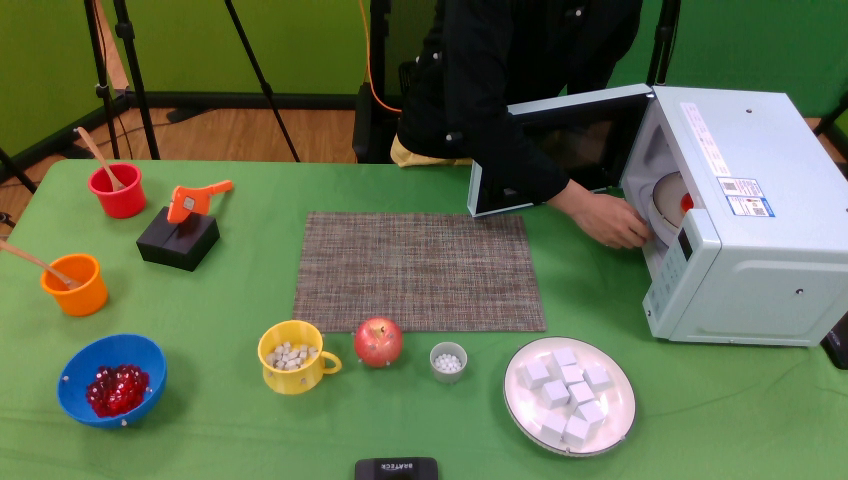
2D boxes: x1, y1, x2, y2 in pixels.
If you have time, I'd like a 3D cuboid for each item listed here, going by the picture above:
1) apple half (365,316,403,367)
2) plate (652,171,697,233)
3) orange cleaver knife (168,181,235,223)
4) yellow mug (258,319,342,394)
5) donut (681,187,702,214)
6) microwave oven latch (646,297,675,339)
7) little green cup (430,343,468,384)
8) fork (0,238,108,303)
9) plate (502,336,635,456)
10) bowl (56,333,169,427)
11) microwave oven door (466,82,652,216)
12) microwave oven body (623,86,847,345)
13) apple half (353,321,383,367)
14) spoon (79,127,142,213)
[{"bbox_3d":[-0.063,0.165,1.000,0.053,0.075,0.080,-16,45,-24],"label":"apple half"},{"bbox_3d":[0.554,-0.058,1.196,0.209,0.038,0.208,2,46,-2],"label":"plate"},{"bbox_3d":[-0.436,-0.078,1.196,0.012,0.077,0.211,16,15,10],"label":"orange cleaver knife"},{"bbox_3d":[-0.195,0.188,0.972,0.131,0.064,0.099,9,47,4],"label":"yellow mug"},{"bbox_3d":[0.552,-0.066,1.183,0.099,0.048,0.098,3,47,-3],"label":"donut"},{"bbox_3d":[0.412,0.134,1.061,0.030,0.029,0.078,4,45,1],"label":"microwave oven latch"},{"bbox_3d":[0.039,0.204,0.993,0.061,0.039,0.061,2,46,-2],"label":"little green cup"},{"bbox_3d":[-0.633,0.048,1.017,0.208,0.018,0.028,40,43,-27],"label":"fork"},{"bbox_3d":[0.225,0.248,0.963,0.208,0.039,0.206,2,46,-2],"label":"plate"},{"bbox_3d":[-0.456,0.223,0.912,0.151,0.077,0.150,3,46,-2],"label":"bowl"},{"bbox_3d":[0.266,-0.181,1.214,0.356,0.245,0.039,-12,49,-15],"label":"microwave oven door"},{"bbox_3d":[0.567,-0.053,1.118,0.326,0.261,0.439,2,45,-1],"label":"microwave oven body"},{"bbox_3d":[-0.097,0.177,0.984,0.033,0.081,0.081,-17,49,-24],"label":"apple half"},{"bbox_3d":[-0.624,-0.139,1.203,0.041,0.021,0.194,-33,101,-25],"label":"spoon"}]
